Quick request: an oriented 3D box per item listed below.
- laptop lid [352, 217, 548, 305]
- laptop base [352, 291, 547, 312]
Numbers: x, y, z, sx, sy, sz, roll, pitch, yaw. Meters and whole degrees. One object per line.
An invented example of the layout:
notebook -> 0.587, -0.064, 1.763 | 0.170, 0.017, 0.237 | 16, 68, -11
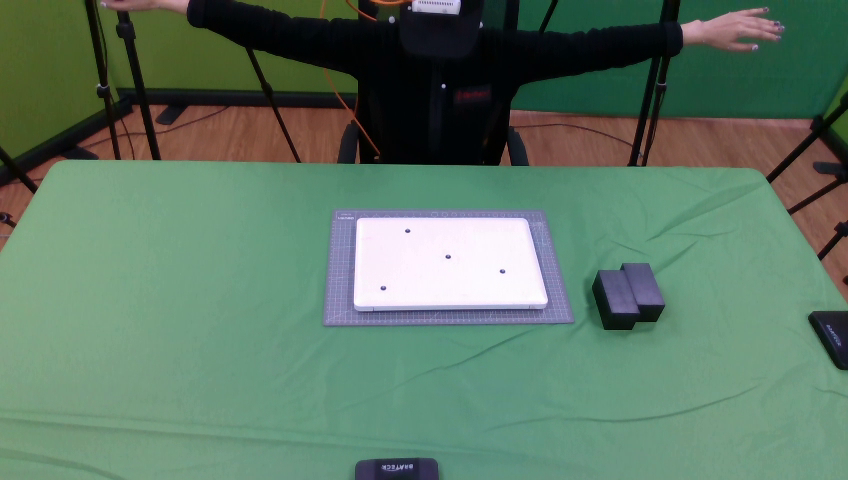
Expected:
laptop lid -> 0.044, 0.034, 1.155 | 0.357, 0.013, 0.240 | 1, 44, -3
laptop base -> 0.043, 0.044, 1.162 | 0.355, 0.023, 0.234 | 0, 43, -5
